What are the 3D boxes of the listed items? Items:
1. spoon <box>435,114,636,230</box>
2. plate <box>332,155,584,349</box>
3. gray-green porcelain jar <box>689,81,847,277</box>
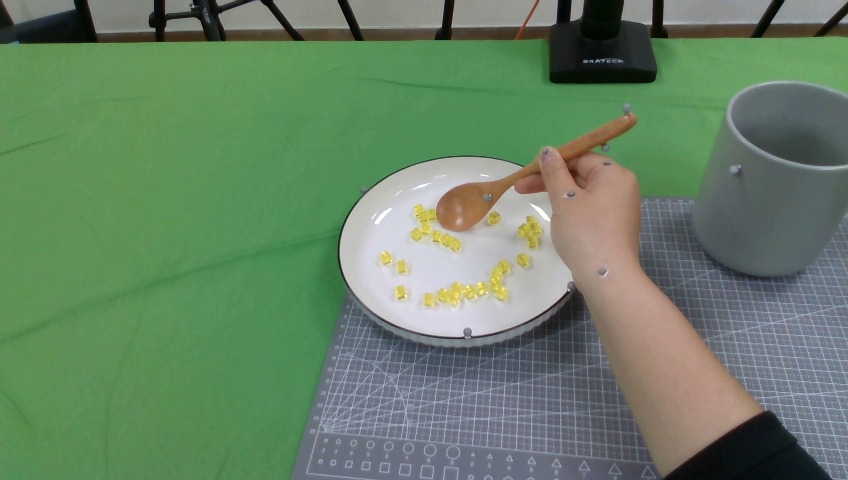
[{"bbox_3d":[0.083,-0.054,0.494,0.022,0.193,0.041,2,70,-45],"label":"spoon"},{"bbox_3d":[0.028,0.009,0.516,0.207,0.039,0.205,-2,48,3],"label":"plate"},{"bbox_3d":[0.273,-0.042,0.477,0.106,0.128,0.105,-3,47,4],"label":"gray-green porcelain jar"}]
